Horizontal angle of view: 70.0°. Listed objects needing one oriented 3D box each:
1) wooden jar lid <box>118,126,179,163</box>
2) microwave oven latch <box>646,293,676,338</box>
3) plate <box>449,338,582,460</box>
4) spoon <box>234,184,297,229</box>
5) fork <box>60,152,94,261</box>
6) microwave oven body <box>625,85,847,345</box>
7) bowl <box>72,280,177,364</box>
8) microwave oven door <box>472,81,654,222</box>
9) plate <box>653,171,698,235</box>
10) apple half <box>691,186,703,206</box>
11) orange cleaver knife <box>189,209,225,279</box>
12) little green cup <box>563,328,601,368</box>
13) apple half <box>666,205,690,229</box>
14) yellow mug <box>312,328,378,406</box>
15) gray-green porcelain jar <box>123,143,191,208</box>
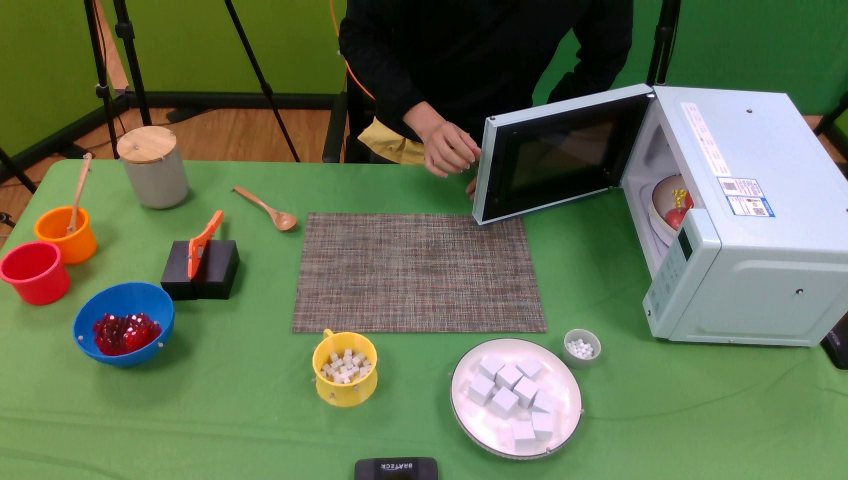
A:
[{"bbox_3d":[-0.528,-0.181,1.167,0.108,0.021,0.107,4,47,-4],"label":"wooden jar lid"},{"bbox_3d":[0.412,0.133,1.060,0.030,0.029,0.078,3,46,0],"label":"microwave oven latch"},{"bbox_3d":[0.141,0.251,0.956,0.208,0.039,0.206,2,46,-2],"label":"plate"},{"bbox_3d":[-0.327,-0.073,1.239,0.193,0.022,0.041,34,70,25],"label":"spoon"},{"bbox_3d":[-0.638,-0.063,1.120,0.028,0.018,0.207,12,90,5],"label":"fork"},{"bbox_3d":[0.568,-0.054,1.116,0.326,0.261,0.439,2,46,-1],"label":"microwave oven body"},{"bbox_3d":[-0.473,0.147,0.982,0.151,0.077,0.150,2,46,-2],"label":"bowl"},{"bbox_3d":[0.273,-0.174,1.202,0.356,0.245,0.039,-16,50,-18],"label":"microwave oven door"},{"bbox_3d":[0.551,-0.054,1.188,0.209,0.038,0.208,2,47,-2],"label":"plate"},{"bbox_3d":[0.570,-0.089,1.194,0.081,0.053,0.074,0,33,14],"label":"apple half"},{"bbox_3d":[-0.401,0.002,1.122,0.012,0.077,0.210,4,23,-4],"label":"orange cleaver knife"},{"bbox_3d":[0.265,0.184,1.025,0.061,0.039,0.061,1,46,-1],"label":"little green cup"},{"bbox_3d":[0.507,-0.046,1.168,0.081,0.033,0.081,4,46,-4],"label":"apple half"},{"bbox_3d":[-0.132,0.193,0.971,0.100,0.064,0.130,-22,51,-22],"label":"yellow mug"},{"bbox_3d":[-0.531,-0.136,1.214,0.106,0.127,0.105,2,47,-2],"label":"gray-green porcelain jar"}]
